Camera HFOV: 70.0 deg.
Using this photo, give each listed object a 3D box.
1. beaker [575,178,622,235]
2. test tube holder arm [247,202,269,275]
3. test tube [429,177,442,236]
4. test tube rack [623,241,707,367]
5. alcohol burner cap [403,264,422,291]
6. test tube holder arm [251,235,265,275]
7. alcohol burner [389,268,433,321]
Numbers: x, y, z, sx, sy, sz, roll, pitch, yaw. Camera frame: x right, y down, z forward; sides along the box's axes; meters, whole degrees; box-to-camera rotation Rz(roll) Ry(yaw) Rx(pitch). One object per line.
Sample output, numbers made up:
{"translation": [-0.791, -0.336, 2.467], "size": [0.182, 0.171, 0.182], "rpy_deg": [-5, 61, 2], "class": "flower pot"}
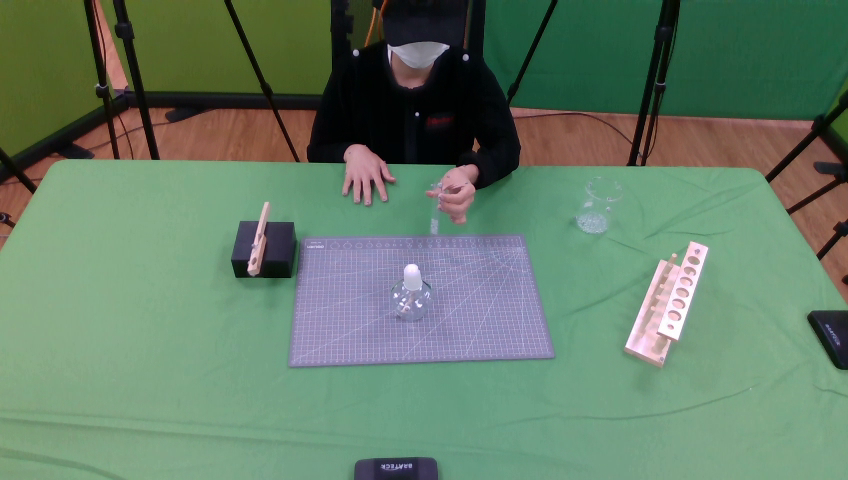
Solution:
{"translation": [0.356, -0.068, 1.240], "size": [0.084, 0.101, 0.073], "rpy_deg": [-18, 50, -21], "class": "beaker"}
{"translation": [-0.304, -0.006, 1.116], "size": [0.013, 0.015, 0.177], "rpy_deg": [-6, 46, 2], "class": "test tube holder arm"}
{"translation": [0.021, -0.058, 1.110], "size": [0.017, 0.151, 0.017], "rpy_deg": [2, 51, -2], "class": "test tube"}
{"translation": [0.435, 0.104, 1.089], "size": [0.066, 0.085, 0.242], "rpy_deg": [24, 49, 19], "class": "test tube rack"}
{"translation": [-0.021, 0.060, 1.021], "size": [0.034, 0.048, 0.033], "rpy_deg": [-2, 46, 2], "class": "alcohol burner cap"}
{"translation": [-0.297, 0.025, 1.084], "size": [0.010, 0.015, 0.087], "rpy_deg": [-6, 46, 2], "class": "test tube holder arm"}
{"translation": [-0.022, 0.085, 1.046], "size": [0.078, 0.119, 0.077], "rpy_deg": [2, 48, -2], "class": "alcohol burner"}
